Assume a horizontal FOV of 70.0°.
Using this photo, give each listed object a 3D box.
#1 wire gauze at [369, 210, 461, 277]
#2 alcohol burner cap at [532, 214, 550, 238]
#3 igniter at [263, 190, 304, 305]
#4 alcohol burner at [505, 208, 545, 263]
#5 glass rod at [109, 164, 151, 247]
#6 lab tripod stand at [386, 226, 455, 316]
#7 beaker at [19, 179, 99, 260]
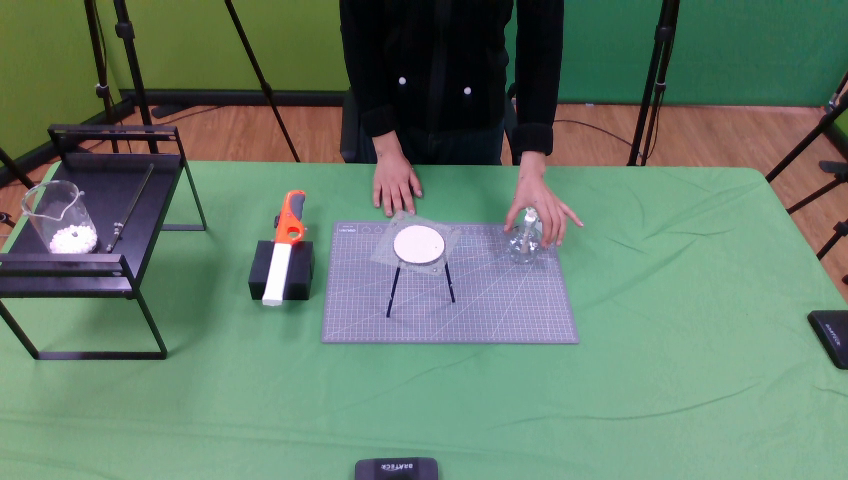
[{"bbox_3d":[-0.013,0.005,1.017,0.121,0.011,0.124,17,49,12],"label":"wire gauze"},{"bbox_3d":[0.240,-0.030,1.228,0.034,0.048,0.033,2,46,-1],"label":"alcohol burner cap"},{"bbox_3d":[-0.256,0.004,1.107,0.057,0.025,0.275,6,47,-7],"label":"igniter"},{"bbox_3d":[0.195,-0.013,1.158,0.078,0.120,0.077,1,44,-1],"label":"alcohol burner"},{"bbox_3d":[-0.473,-0.061,0.979,0.008,0.008,0.198,1,46,-3],"label":"glass rod"},{"bbox_3d":[-0.013,0.054,1.064,0.148,0.132,0.147,2,48,-2],"label":"lab tripod stand"},{"bbox_3d":[-0.522,-0.024,0.878,0.074,0.101,0.083,-26,54,-25],"label":"beaker"}]
